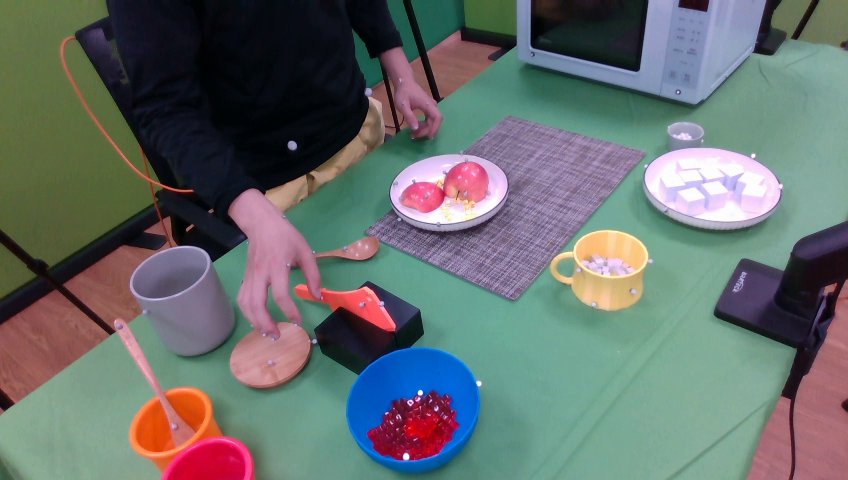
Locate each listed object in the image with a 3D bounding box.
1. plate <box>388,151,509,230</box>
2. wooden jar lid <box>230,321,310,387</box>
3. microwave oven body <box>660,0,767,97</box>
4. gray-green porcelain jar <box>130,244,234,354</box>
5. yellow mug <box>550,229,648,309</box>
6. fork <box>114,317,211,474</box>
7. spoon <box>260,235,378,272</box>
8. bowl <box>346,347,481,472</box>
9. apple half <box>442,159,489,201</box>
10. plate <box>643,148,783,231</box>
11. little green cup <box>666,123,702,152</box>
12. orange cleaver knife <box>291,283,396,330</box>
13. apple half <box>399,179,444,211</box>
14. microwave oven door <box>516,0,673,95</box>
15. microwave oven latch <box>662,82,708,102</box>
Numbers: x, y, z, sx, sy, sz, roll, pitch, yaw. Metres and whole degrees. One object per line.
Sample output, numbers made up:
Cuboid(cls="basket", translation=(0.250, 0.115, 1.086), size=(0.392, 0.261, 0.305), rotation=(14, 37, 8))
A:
Cuboid(cls="plate", translation=(0.043, -0.082, 1.042), size=(0.209, 0.038, 0.208), rotation=(-4, 40, 4))
Cuboid(cls="wooden jar lid", translation=(-0.207, 0.157, 0.820), size=(0.108, 0.021, 0.108), rotation=(-4, 39, 4))
Cuboid(cls="microwave oven body", translation=(0.473, -0.517, 1.314), size=(0.438, 0.261, 0.327), rotation=(26, 51, 34))
Cuboid(cls="gray-green porcelain jar", translation=(-0.328, 0.087, 0.836), size=(0.106, 0.127, 0.105), rotation=(-4, 41, 4))
Cuboid(cls="yellow mug", translation=(0.245, 0.040, 0.857), size=(0.130, 0.064, 0.099), rotation=(1, 42, 11))
Cuboid(cls="fork", translation=(-0.309, 0.179, 0.708), size=(0.028, 0.018, 0.207), rotation=(-30, 89, -24))
Cuboid(cls="spoon", translation=(-0.168, 0.024, 0.966), size=(0.194, 0.022, 0.041), rotation=(-10, 59, -3))
Cuboid(cls="bowl", translation=(-0.008, 0.205, 0.691), size=(0.151, 0.077, 0.150), rotation=(-4, 40, 4))
Cuboid(cls="apple half", translation=(0.074, -0.110, 1.047), size=(0.080, 0.053, 0.075), rotation=(21, 45, 30))
Cuboid(cls="plate", translation=(0.464, -0.080, 0.986), size=(0.207, 0.039, 0.206), rotation=(-4, 40, 4))
Cuboid(cls="little green cup", translation=(0.472, -0.183, 1.102), size=(0.061, 0.039, 0.061), rotation=(-5, 41, 5))
Cuboid(cls="orange cleaver knife", translation=(-0.115, 0.091, 0.835), size=(0.209, 0.077, 0.012), rotation=(1, 36, 48))
Cuboid(cls="apple half", translation=(-0.004, -0.088, 1.045), size=(0.081, 0.033, 0.081), rotation=(-2, 43, 2))
Cuboid(cls="microwave oven door", translation=(0.344, -0.458, 1.256), size=(0.353, 0.245, 0.039), rotation=(26, 51, 33))
Cuboid(cls="microwave oven latch", translation=(0.517, -0.298, 1.203), size=(0.078, 0.029, 0.030), rotation=(28, 52, 35))
